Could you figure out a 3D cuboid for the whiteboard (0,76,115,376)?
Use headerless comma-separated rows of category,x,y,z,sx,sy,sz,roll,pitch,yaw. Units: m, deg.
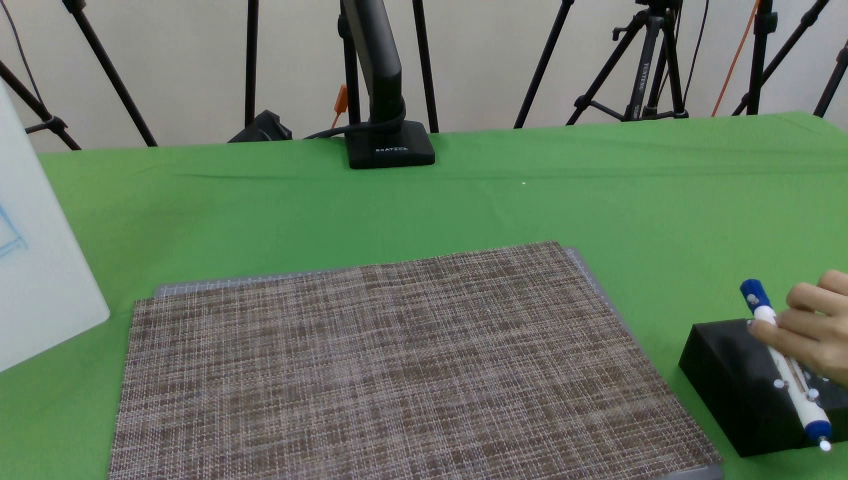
whiteboard,-0.444,-0.026,0.499,0.217,0.307,0.142,-31,28,-36

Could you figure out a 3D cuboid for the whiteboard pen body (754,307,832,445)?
whiteboard pen body,0.263,0.086,0.442,0.017,0.017,0.139,5,37,5

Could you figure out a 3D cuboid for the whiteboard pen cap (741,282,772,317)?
whiteboard pen cap,0.270,0.050,0.491,0.018,0.018,0.033,5,38,5
